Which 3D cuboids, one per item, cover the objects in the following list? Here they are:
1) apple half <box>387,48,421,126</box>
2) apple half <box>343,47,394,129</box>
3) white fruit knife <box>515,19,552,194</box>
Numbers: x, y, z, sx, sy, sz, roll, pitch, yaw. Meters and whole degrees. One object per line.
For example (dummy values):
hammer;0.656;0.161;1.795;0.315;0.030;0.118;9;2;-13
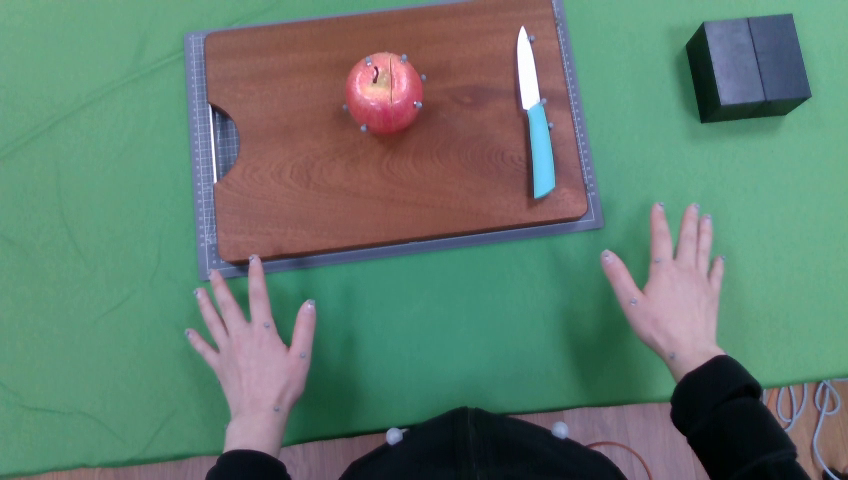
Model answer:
apple half;-0.019;-0.159;0.636;0.033;0.081;0.081;-2;79;3
apple half;-0.058;-0.157;0.637;0.053;0.075;0.080;-3;83;4
white fruit knife;0.118;-0.150;0.665;0.027;0.016;0.206;-2;78;-14
